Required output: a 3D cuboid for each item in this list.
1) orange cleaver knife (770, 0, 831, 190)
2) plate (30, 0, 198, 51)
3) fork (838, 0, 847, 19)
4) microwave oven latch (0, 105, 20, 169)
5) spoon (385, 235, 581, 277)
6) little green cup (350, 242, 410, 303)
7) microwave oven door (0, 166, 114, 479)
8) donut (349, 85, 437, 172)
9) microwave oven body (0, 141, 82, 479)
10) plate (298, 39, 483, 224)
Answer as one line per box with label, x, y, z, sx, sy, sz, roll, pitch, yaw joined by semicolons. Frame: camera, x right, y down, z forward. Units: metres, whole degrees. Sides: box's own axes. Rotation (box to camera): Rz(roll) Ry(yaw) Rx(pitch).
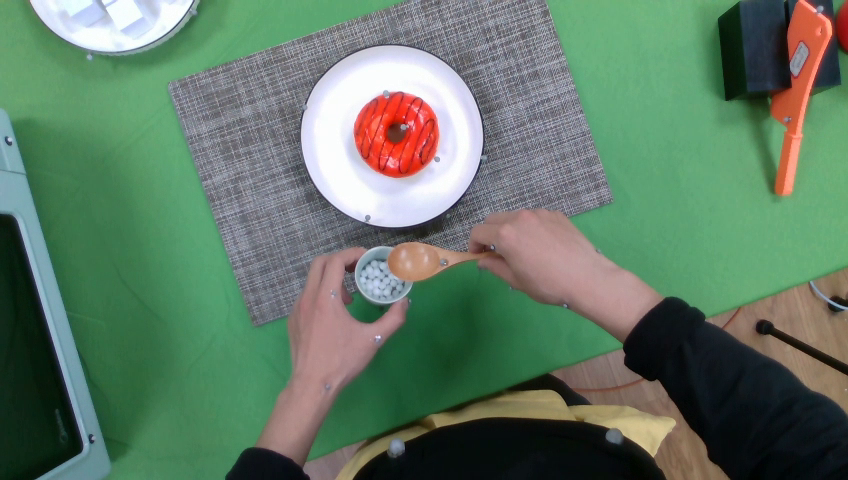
orange cleaver knife;0.409;-0.161;0.677;0.012;0.076;0.213;-4;120;2
plate;-0.349;-0.316;0.692;0.208;0.039;0.207;0;90;0
fork;0.564;-0.256;0.645;0.205;0.019;0.028;10;89;41
microwave oven latch;-0.480;-0.117;0.675;0.030;0.029;0.079;-15;91;-1
spoon;0.058;0.011;0.603;0.193;0.022;0.041;-5;74;9
little green cup;-0.047;0.036;0.632;0.062;0.039;0.061;4;70;-10
microwave oven door;-0.421;0.094;0.576;0.039;0.244;0.355;-17;90;0
donut;-0.034;-0.125;0.681;0.099;0.048;0.099;0;92;1
microwave oven body;-0.573;0.094;0.580;0.326;0.260;0.441;-16;91;-1
plate;-0.038;-0.121;0.692;0.209;0.038;0.209;0;91;0
